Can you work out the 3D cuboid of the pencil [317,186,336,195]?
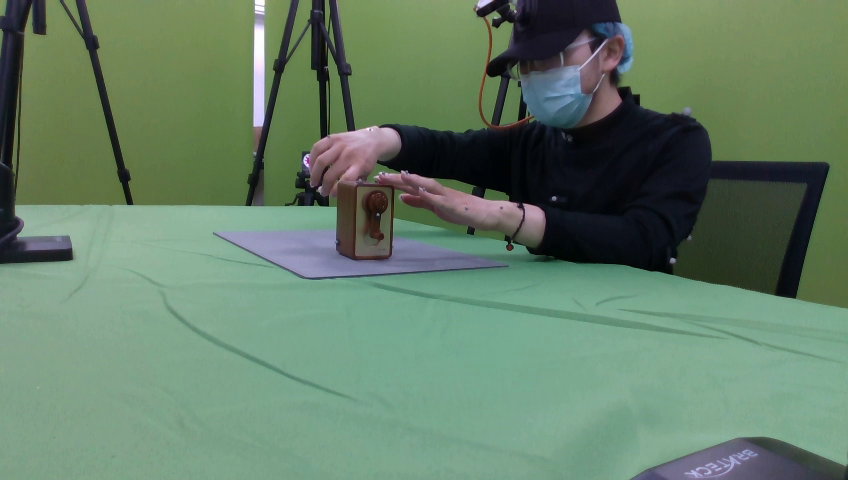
[{"bbox_3d":[-0.139,-0.075,0.965,0.012,0.012,0.193,-2,9,-27],"label":"pencil"}]

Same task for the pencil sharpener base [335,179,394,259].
[{"bbox_3d":[-0.084,-0.030,0.855,0.061,0.107,0.076,-1,8,-28],"label":"pencil sharpener base"}]

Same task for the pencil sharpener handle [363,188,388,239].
[{"bbox_3d":[-0.061,-0.035,0.808,0.036,0.067,0.030,3,6,-29],"label":"pencil sharpener handle"}]
